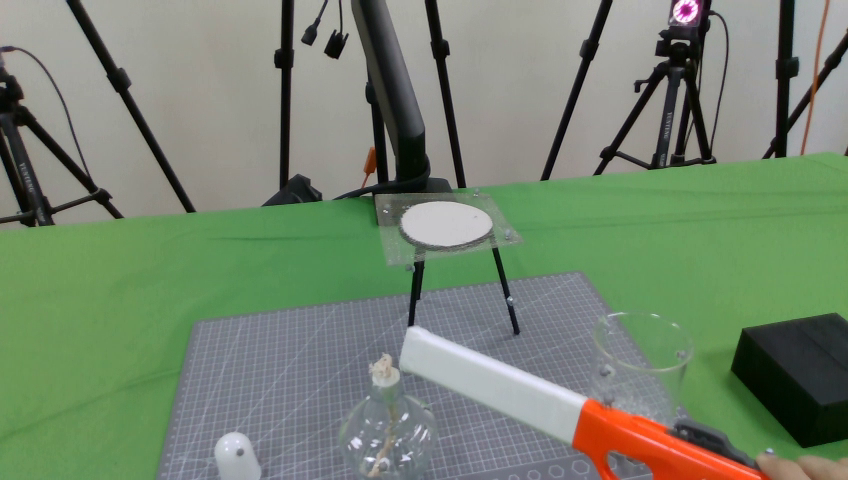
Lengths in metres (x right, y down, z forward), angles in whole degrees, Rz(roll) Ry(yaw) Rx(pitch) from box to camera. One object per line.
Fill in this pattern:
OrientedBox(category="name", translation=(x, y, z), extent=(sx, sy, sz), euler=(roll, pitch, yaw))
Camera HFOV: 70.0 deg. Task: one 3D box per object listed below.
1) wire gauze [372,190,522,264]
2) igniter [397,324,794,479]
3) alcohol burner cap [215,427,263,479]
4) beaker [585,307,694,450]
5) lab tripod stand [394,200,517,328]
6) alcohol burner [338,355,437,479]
OrientedBox(category="wire gauze", translation=(0.016, -0.019, 0.565), extent=(0.122, 0.011, 0.124), euler=(-5, 31, -9))
OrientedBox(category="igniter", translation=(0.100, 0.111, 0.352), extent=(0.274, 0.057, 0.025), euler=(19, 11, 30))
OrientedBox(category="alcohol burner cap", translation=(-0.147, 0.169, 0.478), extent=(0.034, 0.048, 0.033), euler=(-1, 31, 1))
OrientedBox(category="beaker", translation=(0.168, 0.115, 0.497), extent=(0.074, 0.101, 0.083), euler=(-16, 33, -22))
OrientedBox(category="lab tripod stand", translation=(0.023, 0.036, 0.603), extent=(0.148, 0.132, 0.147), euler=(0, 29, 0))
OrientedBox(category="alcohol burner", translation=(-0.029, 0.133, 0.462), extent=(0.078, 0.120, 0.077), euler=(-1, 33, 1))
